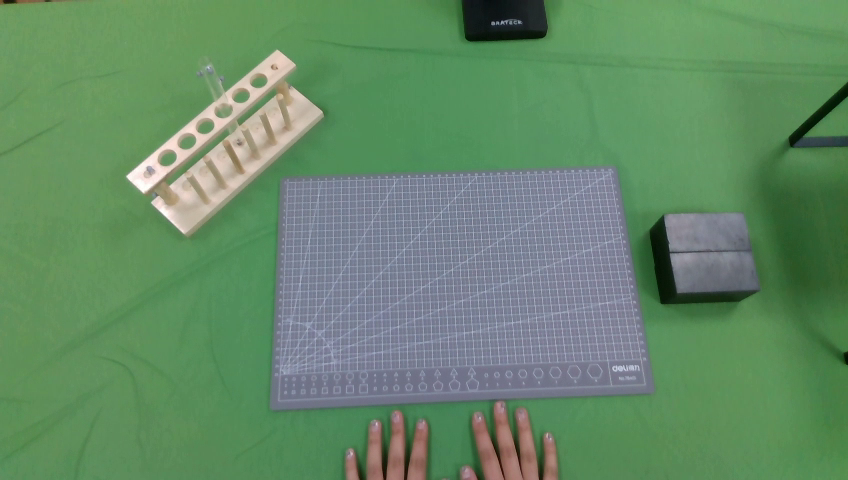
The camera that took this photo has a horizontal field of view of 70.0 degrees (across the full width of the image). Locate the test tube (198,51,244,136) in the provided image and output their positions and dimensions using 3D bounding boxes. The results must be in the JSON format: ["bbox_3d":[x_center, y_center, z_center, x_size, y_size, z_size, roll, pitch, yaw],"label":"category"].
[{"bbox_3d":[-0.243,-0.172,0.733,0.017,0.151,0.017,1,66,-1],"label":"test tube"}]

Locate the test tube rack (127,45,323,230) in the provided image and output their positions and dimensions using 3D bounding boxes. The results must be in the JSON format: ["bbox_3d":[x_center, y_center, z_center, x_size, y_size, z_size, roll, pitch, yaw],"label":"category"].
[{"bbox_3d":[-0.243,-0.130,0.770,0.066,0.085,0.242,41,74,13],"label":"test tube rack"}]
